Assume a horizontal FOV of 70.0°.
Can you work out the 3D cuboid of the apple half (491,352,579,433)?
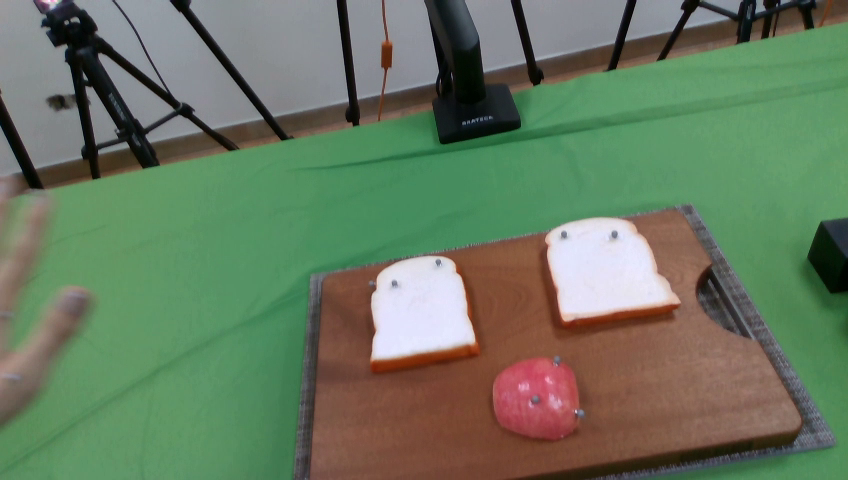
[{"bbox_3d":[0.094,0.122,0.514,0.081,0.033,0.080,-5,46,6],"label":"apple half"}]

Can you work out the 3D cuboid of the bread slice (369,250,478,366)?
[{"bbox_3d":[-0.007,0.063,0.612,0.105,0.019,0.130,-10,45,2],"label":"bread slice"}]

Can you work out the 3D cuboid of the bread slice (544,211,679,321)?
[{"bbox_3d":[0.174,0.021,0.605,0.107,0.018,0.133,-12,43,2],"label":"bread slice"}]
